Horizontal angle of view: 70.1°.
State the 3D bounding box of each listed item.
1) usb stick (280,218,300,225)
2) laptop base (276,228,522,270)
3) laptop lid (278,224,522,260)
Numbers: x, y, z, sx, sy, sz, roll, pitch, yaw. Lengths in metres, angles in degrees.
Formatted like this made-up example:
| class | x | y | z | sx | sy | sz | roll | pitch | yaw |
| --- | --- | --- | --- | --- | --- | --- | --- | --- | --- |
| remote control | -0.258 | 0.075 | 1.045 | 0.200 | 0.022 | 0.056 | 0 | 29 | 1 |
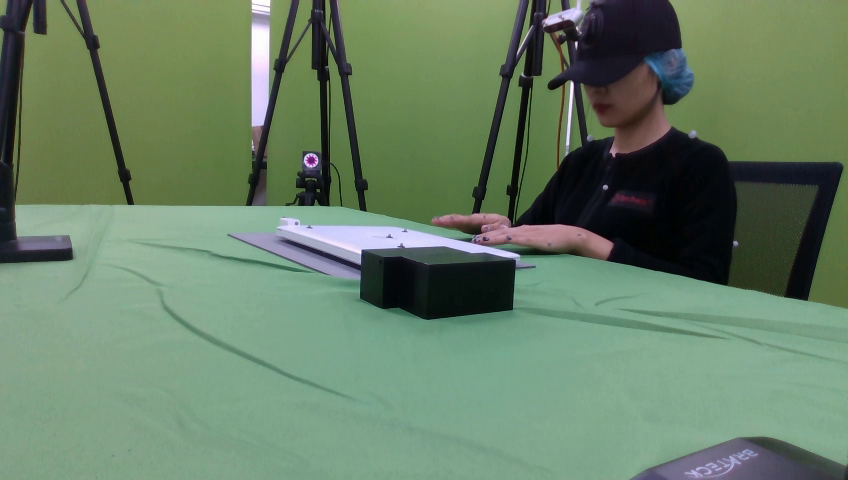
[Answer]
| class | x | y | z | sx | sy | sz | roll | pitch | yaw |
| --- | --- | --- | --- | --- | --- | --- | --- | --- | --- |
| usb stick | -0.225 | -0.023 | 1.024 | 0.021 | 0.027 | 0.059 | 0 | 9 | -31 |
| laptop base | -0.054 | 0.011 | 0.909 | 0.237 | 0.023 | 0.352 | 1 | 6 | -33 |
| laptop lid | -0.052 | -0.001 | 0.909 | 0.243 | 0.013 | 0.355 | 0 | 7 | -32 |
